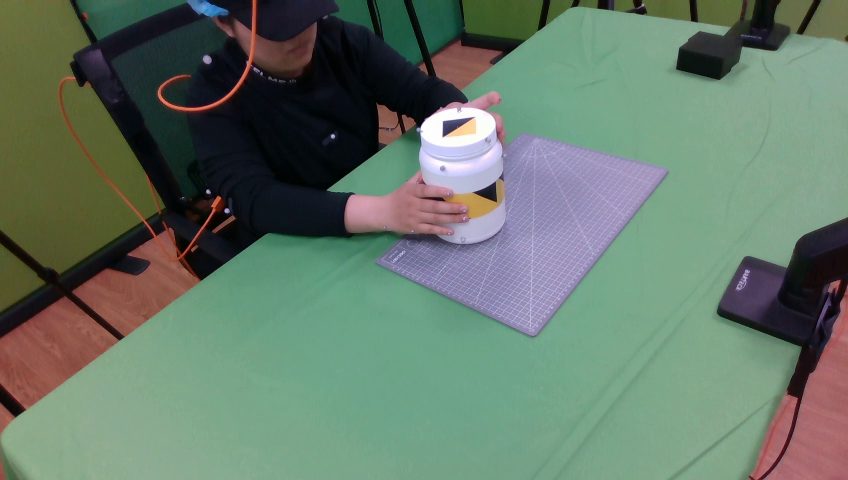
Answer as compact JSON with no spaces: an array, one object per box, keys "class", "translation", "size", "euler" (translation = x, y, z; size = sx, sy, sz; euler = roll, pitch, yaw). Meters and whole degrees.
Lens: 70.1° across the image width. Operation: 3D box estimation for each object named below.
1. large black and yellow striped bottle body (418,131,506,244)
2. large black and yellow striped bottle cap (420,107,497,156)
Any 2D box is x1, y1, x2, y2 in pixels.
[{"class":"large black and yellow striped bottle body","translation":[0.062,-0.100,0.959],"size":[0.131,0.185,0.130],"euler":[-5,40,5]},{"class":"large black and yellow striped bottle cap","translation":[0.052,-0.164,0.906],"size":[0.115,0.019,0.114],"euler":[-5,41,5]}]
